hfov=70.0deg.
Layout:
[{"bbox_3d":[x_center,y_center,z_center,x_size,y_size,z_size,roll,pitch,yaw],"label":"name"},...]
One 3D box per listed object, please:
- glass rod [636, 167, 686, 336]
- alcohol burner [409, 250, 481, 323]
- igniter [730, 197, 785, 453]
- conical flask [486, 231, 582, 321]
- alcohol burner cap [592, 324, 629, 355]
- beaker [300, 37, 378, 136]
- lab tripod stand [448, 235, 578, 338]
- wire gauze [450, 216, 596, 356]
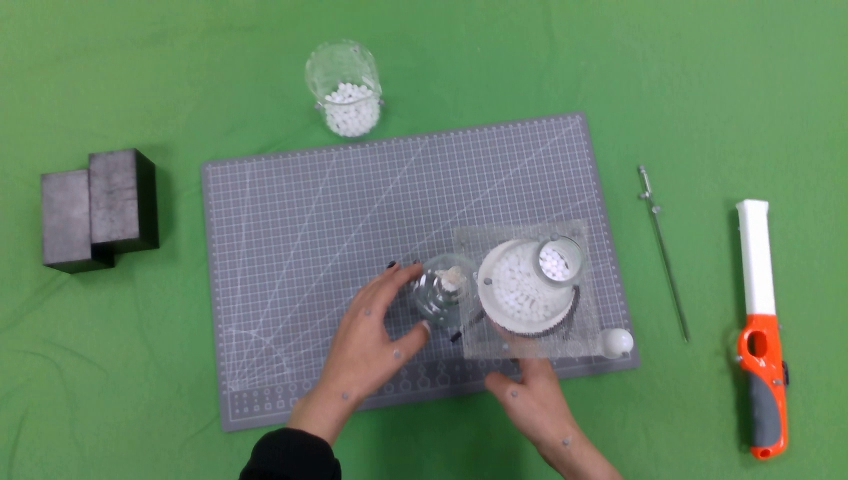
[{"bbox_3d":[0.266,0.010,0.683,0.008,0.008,0.198,-10,78,-4],"label":"glass rod"},{"bbox_3d":[0.023,0.045,0.614,0.078,0.119,0.077,0,78,2],"label":"alcohol burner"},{"bbox_3d":[0.360,0.088,0.659,0.057,0.025,0.275,5,78,-11],"label":"igniter"},{"bbox_3d":[0.092,0.024,0.482,0.075,0.122,0.075,0,79,-1],"label":"conical flask"},{"bbox_3d":[0.200,0.104,0.642,0.034,0.048,0.033,0,77,0],"label":"alcohol burner cap"},{"bbox_3d":[-0.086,-0.162,0.667,0.084,0.100,0.074,27,79,4],"label":"beaker"},{"bbox_3d":[0.090,0.056,0.603,0.148,0.132,0.148,0,79,0],"label":"lab tripod stand"},{"bbox_3d":[0.088,0.040,0.539,0.125,0.011,0.121,-2,81,-4],"label":"wire gauze"}]
